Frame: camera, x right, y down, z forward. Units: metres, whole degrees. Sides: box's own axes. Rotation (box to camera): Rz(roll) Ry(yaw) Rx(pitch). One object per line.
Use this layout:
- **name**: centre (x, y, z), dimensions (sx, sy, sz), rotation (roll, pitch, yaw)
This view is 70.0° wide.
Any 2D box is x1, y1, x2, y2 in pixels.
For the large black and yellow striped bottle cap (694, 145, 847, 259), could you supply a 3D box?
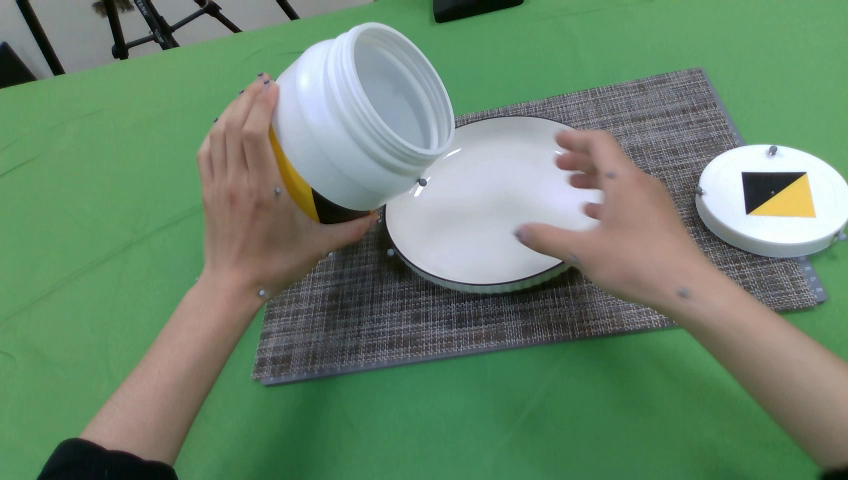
- **large black and yellow striped bottle cap**: centre (0.286, -0.035, 0.501), dimensions (0.115, 0.019, 0.114), rotation (-6, 51, 8)

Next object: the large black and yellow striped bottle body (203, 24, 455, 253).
- **large black and yellow striped bottle body**: centre (-0.078, -0.078, 0.495), dimensions (0.184, 0.132, 0.129), rotation (-26, 40, 36)

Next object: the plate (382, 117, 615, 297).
- **plate**: centre (0.067, -0.031, 0.552), dimensions (0.207, 0.039, 0.205), rotation (-8, 49, 10)
